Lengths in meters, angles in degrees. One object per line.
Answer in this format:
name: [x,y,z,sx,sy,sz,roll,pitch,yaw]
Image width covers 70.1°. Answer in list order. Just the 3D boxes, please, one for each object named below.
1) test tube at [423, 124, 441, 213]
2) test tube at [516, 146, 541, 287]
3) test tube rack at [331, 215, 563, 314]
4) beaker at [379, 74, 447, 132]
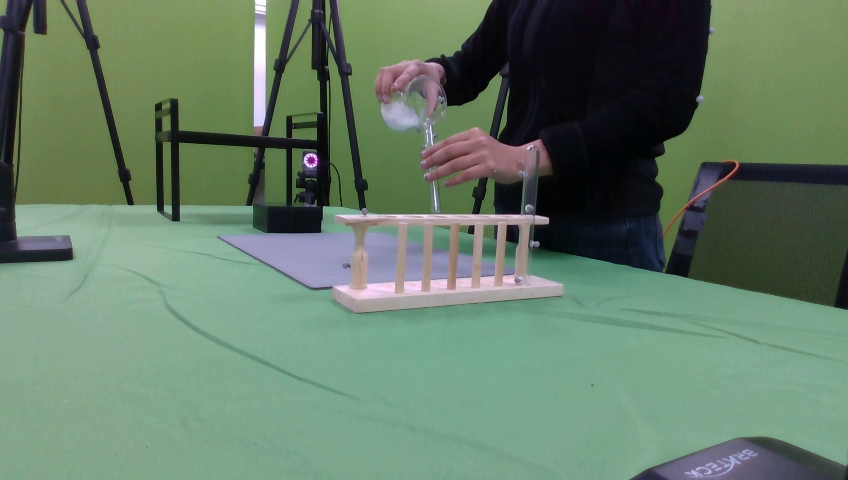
test tube: [0.012,-0.109,0.911,0.017,0.150,0.017,-4,-22,-1]
test tube: [0.110,-0.024,0.638,0.017,0.150,0.017,4,6,0]
test tube rack: [0.031,0.019,0.625,0.243,0.085,0.066,-1,8,-28]
beaker: [-0.021,-0.215,0.978,0.074,0.084,0.100,-6,2,-32]
